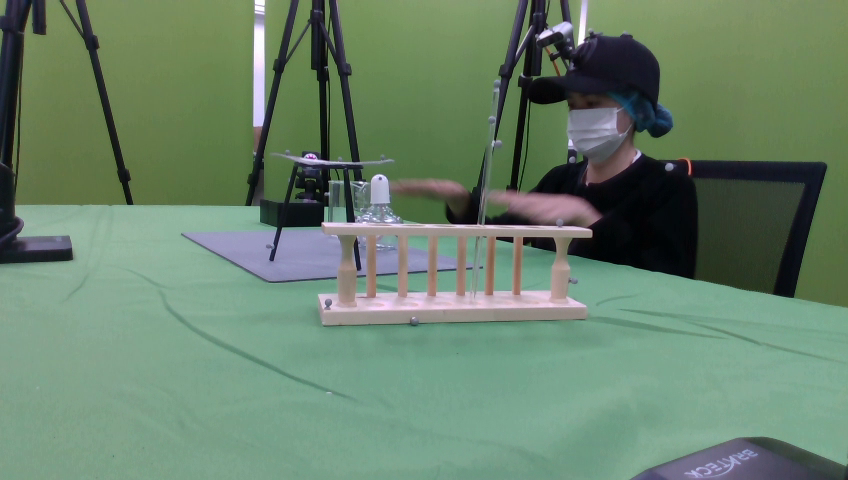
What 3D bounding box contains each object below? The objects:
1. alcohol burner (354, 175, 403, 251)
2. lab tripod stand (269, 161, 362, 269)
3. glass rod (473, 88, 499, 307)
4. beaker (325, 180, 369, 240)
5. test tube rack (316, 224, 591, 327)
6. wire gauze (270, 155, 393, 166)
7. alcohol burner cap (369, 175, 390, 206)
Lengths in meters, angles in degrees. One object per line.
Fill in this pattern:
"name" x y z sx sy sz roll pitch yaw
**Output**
"alcohol burner" -0.072 -0.042 0.944 0.078 0.119 0.078 1 9 0
"lab tripod stand" -0.125 -0.036 0.794 0.148 0.131 0.148 5 7 0
"glass rod" 0.055 -0.035 0.542 0.008 0.199 0.008 5 2 0
"beaker" -0.133 -0.052 1.058 0.074 0.100 0.083 -3 10 -36
"test tube rack" 0.026 0.028 0.555 0.243 0.085 0.066 1 7 -15
"wire gauze" -0.122 -0.102 0.785 0.122 0.011 0.124 -3 10 -39
"alcohol burner cap" -0.069 -0.077 0.940 0.034 0.048 0.034 -1 6 0
